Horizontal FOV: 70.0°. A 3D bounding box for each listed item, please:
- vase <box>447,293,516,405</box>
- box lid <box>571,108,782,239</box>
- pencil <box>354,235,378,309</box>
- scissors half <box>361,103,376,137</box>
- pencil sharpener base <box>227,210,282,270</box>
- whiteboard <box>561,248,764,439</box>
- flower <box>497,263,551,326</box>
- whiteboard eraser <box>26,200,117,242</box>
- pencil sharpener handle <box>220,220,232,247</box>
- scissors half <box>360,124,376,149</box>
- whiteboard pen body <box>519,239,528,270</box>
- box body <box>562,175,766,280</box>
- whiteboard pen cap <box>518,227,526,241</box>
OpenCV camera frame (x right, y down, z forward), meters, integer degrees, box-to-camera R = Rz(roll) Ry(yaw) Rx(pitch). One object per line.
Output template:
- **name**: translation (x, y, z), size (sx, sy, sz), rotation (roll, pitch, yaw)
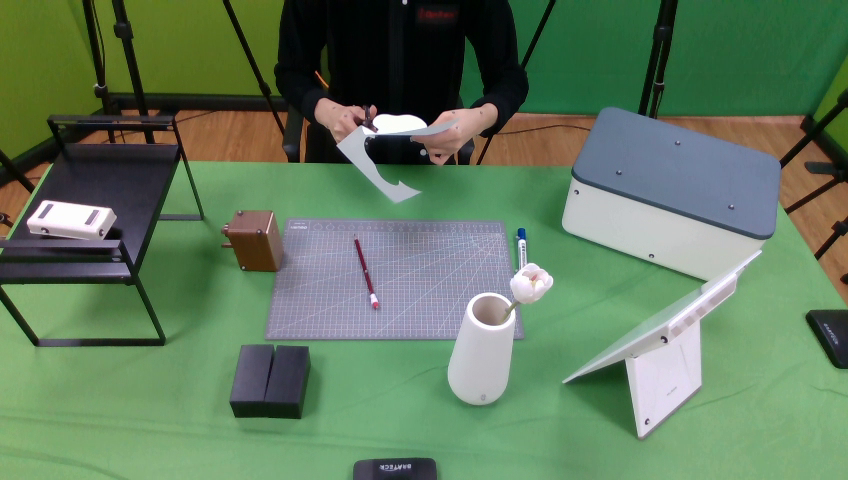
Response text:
- **vase**: translation (0.091, 0.169, 0.921), size (0.098, 0.201, 0.097), rotation (3, 47, -3)
- **box lid**: translation (0.491, -0.139, 1.168), size (0.370, 0.015, 0.262), rotation (21, 49, 15)
- **pencil**: translation (-0.113, 0.055, 1.143), size (0.012, 0.012, 0.192), rotation (-10, 46, -13)
- **scissors half**: translation (-0.095, -0.204, 1.045), size (0.013, 0.040, 0.174), rotation (-2, 26, -12)
- **pencil sharpener base**: translation (-0.311, 0.001, 1.112), size (0.077, 0.107, 0.061), rotation (1, 47, 1)
- **whiteboard**: translation (0.386, 0.176, 0.905), size (0.217, 0.306, 0.143), rotation (-26, 72, -27)
- **flower**: translation (0.102, 0.121, 0.852), size (0.044, 0.363, 0.038), rotation (-1, 64, -9)
- **whiteboard eraser**: translation (-0.532, -0.026, 0.919), size (0.113, 0.042, 0.055), rotation (7, 45, 3)
- **pencil sharpener handle**: translation (-0.362, -0.009, 1.105), size (0.030, 0.068, 0.036), rotation (1, 52, 1)
- **scissors half**: translation (-0.097, -0.183, 1.050), size (0.013, 0.040, 0.175), rotation (3, 2, -13)
- **whiteboard pen body**: translation (0.193, 0.035, 1.181), size (0.017, 0.017, 0.140), rotation (6, 48, 1)
- **box body**: translation (0.486, -0.088, 1.222), size (0.363, 0.161, 0.253), rotation (20, 48, 15)
- **whiteboard pen cap**: translation (0.197, -0.009, 1.220), size (0.018, 0.018, 0.033), rotation (5, 51, 1)
